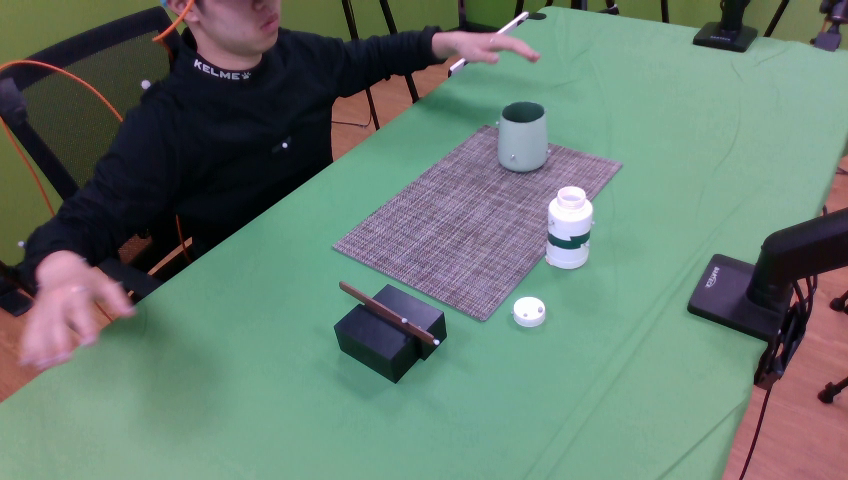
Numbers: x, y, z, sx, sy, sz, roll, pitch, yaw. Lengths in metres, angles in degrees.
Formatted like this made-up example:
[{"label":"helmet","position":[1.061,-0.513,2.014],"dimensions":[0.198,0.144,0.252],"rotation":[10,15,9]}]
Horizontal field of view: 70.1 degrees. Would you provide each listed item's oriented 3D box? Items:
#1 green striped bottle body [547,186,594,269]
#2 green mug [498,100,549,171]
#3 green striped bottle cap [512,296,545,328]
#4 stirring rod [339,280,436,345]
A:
[{"label":"green striped bottle body","position":[0.214,-0.020,0.886],"dimensions":[0.063,0.120,0.063],"rotation":[-4,41,4]},{"label":"green mug","position":[0.182,-0.197,1.101],"dimensions":[0.092,0.105,0.125],"rotation":[3,42,12]},{"label":"green striped bottle cap","position":[0.144,0.099,0.837],"dimensions":[0.044,0.020,0.044],"rotation":[-2,45,3]},{"label":"stirring rod","position":[-0.052,0.093,0.795],"dimensions":[0.174,0.014,0.006],"rotation":[27,47,33]}]
